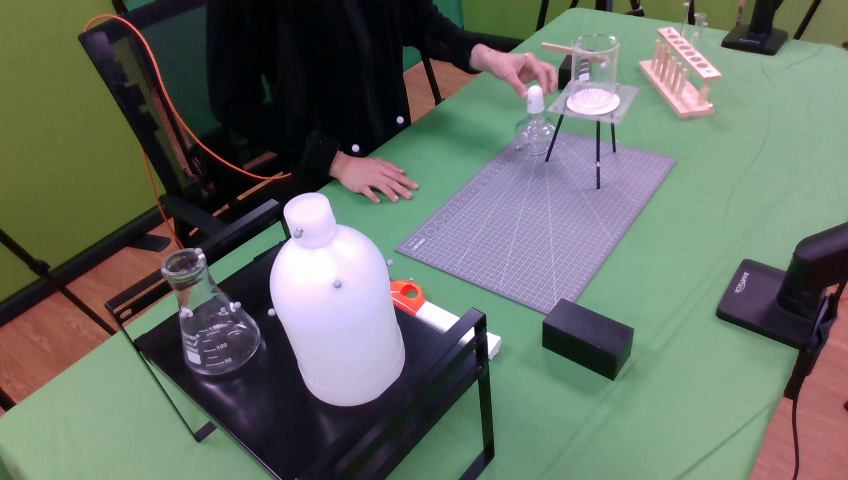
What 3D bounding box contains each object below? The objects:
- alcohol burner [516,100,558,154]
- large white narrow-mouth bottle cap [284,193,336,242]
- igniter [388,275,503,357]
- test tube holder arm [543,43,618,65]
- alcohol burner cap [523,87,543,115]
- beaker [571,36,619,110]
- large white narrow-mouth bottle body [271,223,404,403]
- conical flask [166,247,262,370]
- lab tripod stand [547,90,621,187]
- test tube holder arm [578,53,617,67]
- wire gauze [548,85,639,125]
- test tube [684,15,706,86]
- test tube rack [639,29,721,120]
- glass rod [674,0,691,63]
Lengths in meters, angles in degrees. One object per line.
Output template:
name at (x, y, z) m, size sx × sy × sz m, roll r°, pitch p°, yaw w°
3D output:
alcohol burner at (0.212, -0.222, 1.134) m, size 0.078 × 0.119 × 0.077 m, roll -5°, pitch 43°, yaw 5°
large white narrow-mouth bottle cap at (-0.087, -0.018, 0.467) m, size 0.038 × 0.024 × 0.037 m, roll -5°, pitch 40°, yaw 4°
igniter at (-0.008, 0.093, 0.870) m, size 0.274 × 0.025 × 0.057 m, roll 24°, pitch 60°, yaw 33°
test tube holder arm at (0.344, -0.413, 1.341) m, size 0.177 × 0.015 × 0.013 m, roll 25°, pitch 50°, yaw 31°
alcohol burner cap at (0.201, -0.257, 1.105) m, size 0.034 × 0.048 × 0.033 m, roll 2°, pitch 50°, yaw -2°
beaker at (0.281, -0.273, 0.992) m, size 0.084 × 0.101 × 0.073 m, roll -24°, pitch 42°, yaw -16°
large white narrow-mouth bottle body at (-0.077, 0.048, 0.525) m, size 0.102 × 0.195 × 0.101 m, roll -5°, pitch 40°, yaw 5°
conical flask at (-0.209, 0.064, 0.584) m, size 0.075 × 0.122 × 0.075 m, roll -5°, pitch 40°, yaw 4°
lab tripod stand at (0.289, -0.184, 1.062) m, size 0.148 × 0.132 × 0.147 m, roll -6°, pitch 41°, yaw 6°
test tube holder arm at (0.376, -0.393, 1.314) m, size 0.087 × 0.015 × 0.010 m, roll 26°, pitch 51°, yaw 32°
wire gauze at (0.286, -0.233, 1.020) m, size 0.124 × 0.011 × 0.122 m, roll 15°, pitch 43°, yaw 30°
test tube at (0.541, -0.378, 1.216) m, size 0.017 × 0.151 × 0.017 m, roll -2°, pitch 44°, yaw 3°
test tube rack at (0.527, -0.351, 1.262) m, size 0.067 × 0.085 × 0.241 m, roll -8°, pitch 40°, yaw 1°
glass rod at (0.537, -0.437, 1.257) m, size 0.008 × 0.200 × 0.008 m, roll 0°, pitch 39°, yaw 1°
